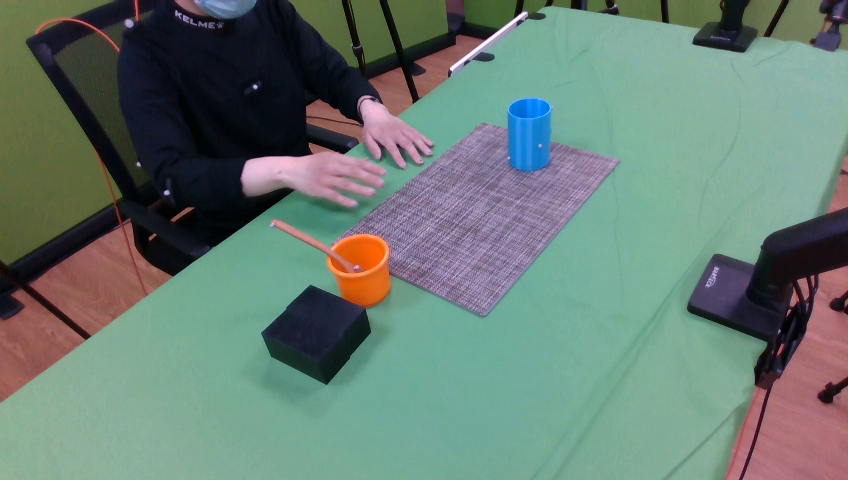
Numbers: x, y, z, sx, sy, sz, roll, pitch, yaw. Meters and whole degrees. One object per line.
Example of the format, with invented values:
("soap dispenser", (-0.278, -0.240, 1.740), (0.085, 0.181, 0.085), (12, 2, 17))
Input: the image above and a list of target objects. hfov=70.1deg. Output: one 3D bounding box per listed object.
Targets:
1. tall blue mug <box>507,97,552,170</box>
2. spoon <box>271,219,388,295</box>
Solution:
("tall blue mug", (0.179, -0.198, 1.101), (0.078, 0.108, 0.106), (-36, 49, -28))
("spoon", (-0.133, 0.022, 0.865), (0.021, 0.195, 0.041), (-35, 27, 40))
